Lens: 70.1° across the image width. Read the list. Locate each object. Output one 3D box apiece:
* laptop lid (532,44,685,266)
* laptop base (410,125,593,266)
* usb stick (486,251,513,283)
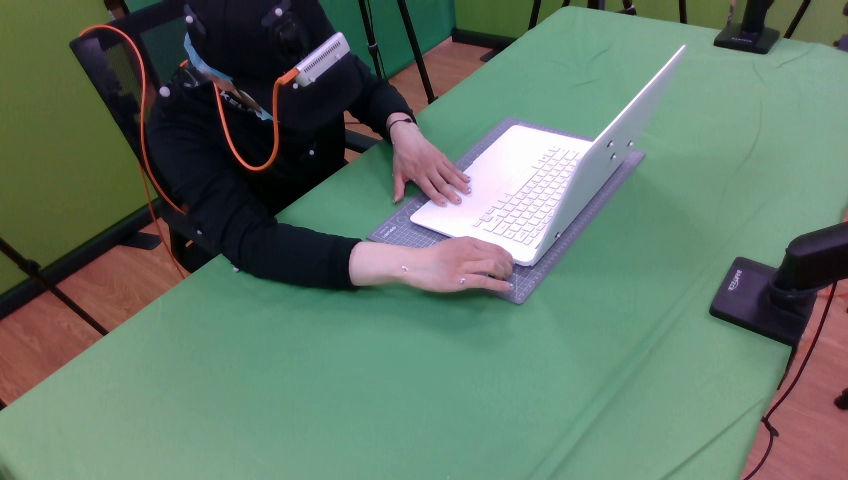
[{"bbox_3d":[0.280,-0.129,0.907,0.013,0.242,0.357,34,52,17],"label":"laptop lid"},{"bbox_3d":[0.169,-0.093,1.056,0.233,0.023,0.355,19,47,33],"label":"laptop base"},{"bbox_3d":[0.115,0.036,0.893,0.021,0.027,0.059,21,41,28],"label":"usb stick"}]
